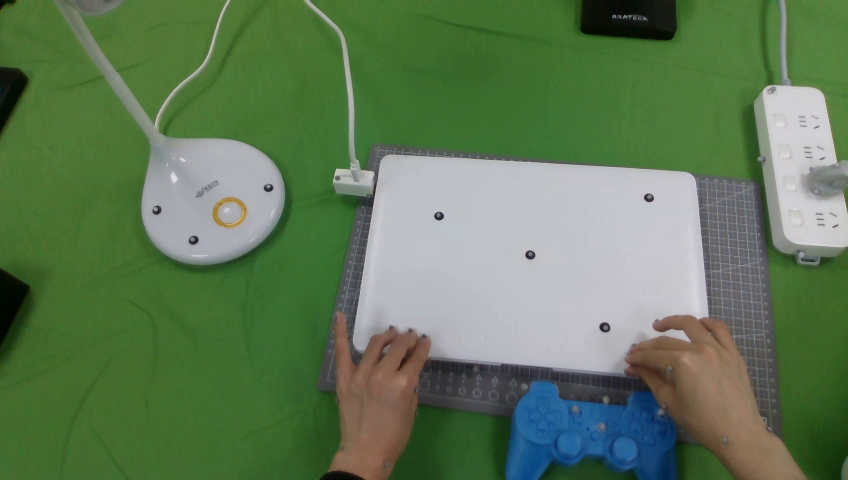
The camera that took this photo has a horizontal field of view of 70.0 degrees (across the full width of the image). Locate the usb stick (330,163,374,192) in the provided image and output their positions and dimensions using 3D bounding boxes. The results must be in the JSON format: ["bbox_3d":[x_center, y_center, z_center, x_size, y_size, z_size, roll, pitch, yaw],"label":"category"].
[{"bbox_3d":[-0.074,-0.070,0.684,0.059,0.027,0.021,8,60,3],"label":"usb stick"}]

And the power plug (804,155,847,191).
[{"bbox_3d":[0.442,-0.064,0.641,0.072,0.053,0.035,16,66,8],"label":"power plug"}]

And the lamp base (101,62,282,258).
[{"bbox_3d":[-0.256,-0.091,0.627,0.178,0.182,0.160,32,70,19],"label":"lamp base"}]

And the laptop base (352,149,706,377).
[{"bbox_3d":[0.111,0.017,0.650,0.354,0.023,0.234,4,69,4],"label":"laptop base"}]

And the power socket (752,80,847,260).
[{"bbox_3d":[0.417,-0.087,0.677,0.072,0.033,0.225,6,65,4],"label":"power socket"}]

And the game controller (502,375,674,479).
[{"bbox_3d":[0.153,0.177,0.559,0.155,0.052,0.096,5,64,4],"label":"game controller"}]

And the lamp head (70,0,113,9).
[{"bbox_3d":[-0.219,-0.213,0.347,0.123,0.112,0.112,32,68,-9],"label":"lamp head"}]

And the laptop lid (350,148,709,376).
[{"bbox_3d":[0.110,0.012,0.636,0.356,0.013,0.240,6,67,5],"label":"laptop lid"}]

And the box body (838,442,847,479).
[{"bbox_3d":[0.562,0.135,0.497,0.252,0.161,0.363,38,72,18],"label":"box body"}]
